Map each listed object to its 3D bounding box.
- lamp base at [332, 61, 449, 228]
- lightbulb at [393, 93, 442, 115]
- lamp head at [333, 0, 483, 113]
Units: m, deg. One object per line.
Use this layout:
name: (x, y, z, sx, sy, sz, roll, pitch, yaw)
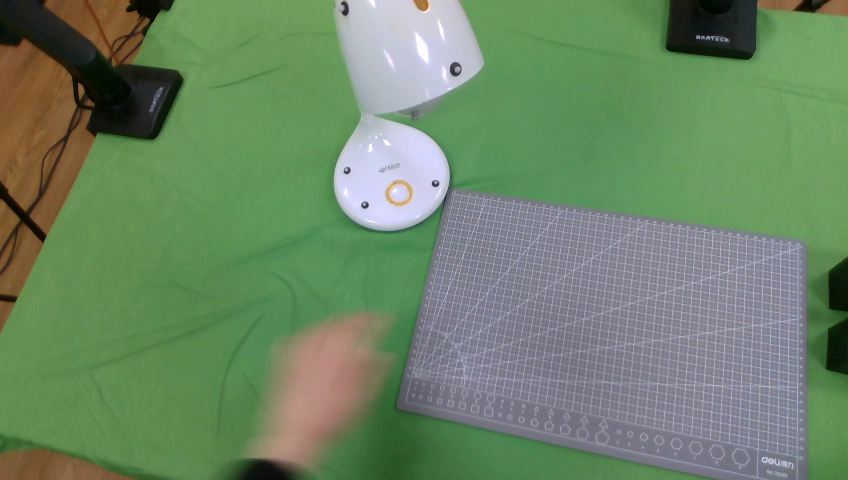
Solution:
lamp base: (-0.061, -0.129, 0.760, 0.160, 0.182, 0.177, -29, 64, -6)
lightbulb: (-0.018, -0.155, 0.494, 0.059, 0.108, 0.059, -12, 28, 7)
lamp head: (-0.024, -0.179, 0.487, 0.112, 0.124, 0.111, -21, 23, 10)
